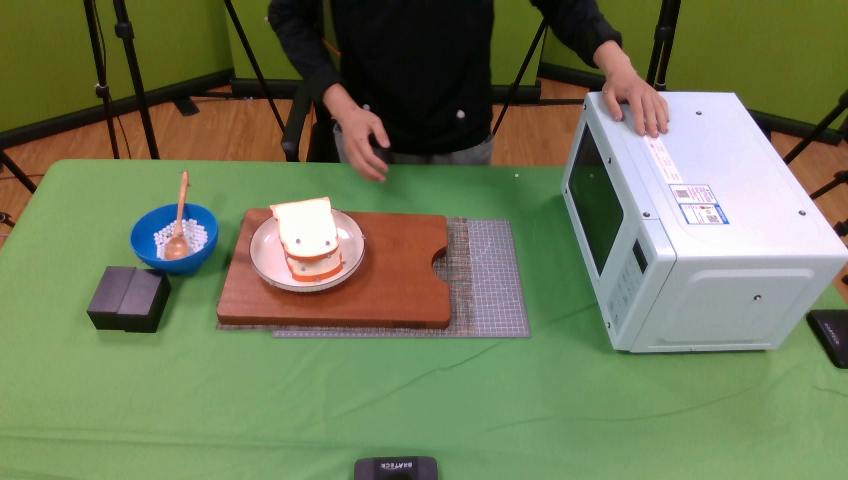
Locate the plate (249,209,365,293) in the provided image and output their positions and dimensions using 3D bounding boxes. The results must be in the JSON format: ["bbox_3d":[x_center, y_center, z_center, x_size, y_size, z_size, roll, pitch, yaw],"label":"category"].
[{"bbox_3d":[-0.212,0.021,1.113,0.208,0.039,0.206,3,45,-2],"label":"plate"}]

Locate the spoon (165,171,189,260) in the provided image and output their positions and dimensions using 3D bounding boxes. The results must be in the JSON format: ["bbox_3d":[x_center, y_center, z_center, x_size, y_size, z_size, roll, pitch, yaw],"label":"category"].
[{"bbox_3d":[-0.452,-0.046,1.128,0.041,0.022,0.193,-2,69,-2],"label":"spoon"}]

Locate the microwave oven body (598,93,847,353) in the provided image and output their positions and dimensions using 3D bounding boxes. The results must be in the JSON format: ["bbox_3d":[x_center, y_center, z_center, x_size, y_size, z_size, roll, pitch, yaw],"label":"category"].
[{"bbox_3d":[0.475,-0.041,1.110,0.326,0.261,0.438,-1,45,-4],"label":"microwave oven body"}]

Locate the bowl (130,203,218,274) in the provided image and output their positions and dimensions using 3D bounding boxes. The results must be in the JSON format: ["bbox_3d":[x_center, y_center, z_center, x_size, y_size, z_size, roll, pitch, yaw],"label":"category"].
[{"bbox_3d":[-0.450,0.010,1.117,0.151,0.077,0.150,3,45,-3],"label":"bowl"}]

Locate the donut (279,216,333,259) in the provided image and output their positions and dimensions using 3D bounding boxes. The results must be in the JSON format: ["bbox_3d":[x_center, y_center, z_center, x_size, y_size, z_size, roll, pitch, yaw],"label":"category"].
[{"bbox_3d":[-0.213,-0.005,1.097,0.099,0.048,0.098,-2,41,2],"label":"donut"}]

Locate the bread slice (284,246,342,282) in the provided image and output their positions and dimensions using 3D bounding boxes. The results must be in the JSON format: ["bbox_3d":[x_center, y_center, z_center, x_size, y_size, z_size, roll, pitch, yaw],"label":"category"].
[{"bbox_3d":[-0.205,0.024,1.115,0.105,0.019,0.130,-13,45,-14],"label":"bread slice"}]

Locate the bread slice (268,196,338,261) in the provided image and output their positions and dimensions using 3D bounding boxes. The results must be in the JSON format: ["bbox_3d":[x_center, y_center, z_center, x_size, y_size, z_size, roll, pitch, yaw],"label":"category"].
[{"bbox_3d":[-0.207,-0.020,1.071,0.107,0.018,0.133,-14,55,-18],"label":"bread slice"}]

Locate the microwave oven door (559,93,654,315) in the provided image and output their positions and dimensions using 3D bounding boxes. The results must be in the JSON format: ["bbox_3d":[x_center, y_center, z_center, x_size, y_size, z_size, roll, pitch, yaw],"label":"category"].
[{"bbox_3d":[0.327,-0.074,1.123,0.039,0.245,0.353,-1,46,-5],"label":"microwave oven door"}]

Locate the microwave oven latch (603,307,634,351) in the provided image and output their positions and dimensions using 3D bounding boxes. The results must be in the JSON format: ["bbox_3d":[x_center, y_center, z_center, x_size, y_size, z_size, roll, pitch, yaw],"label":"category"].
[{"bbox_3d":[0.332,0.153,1.044,0.030,0.029,0.078,0,45,-4],"label":"microwave oven latch"}]
